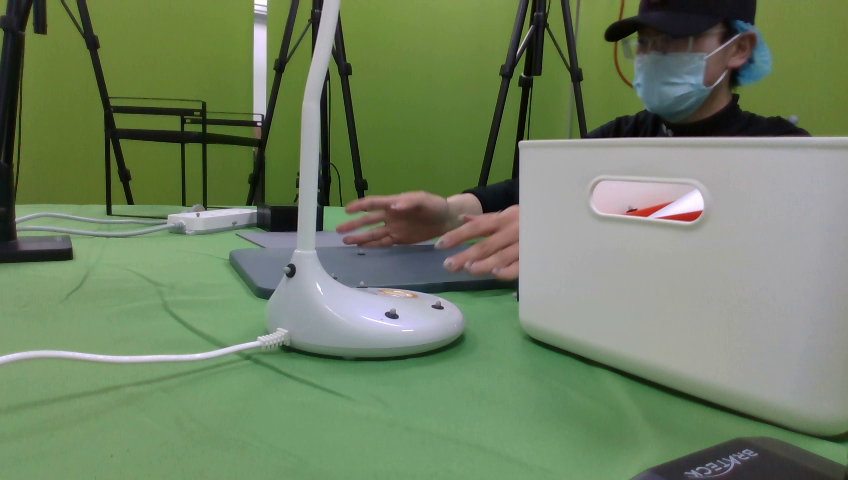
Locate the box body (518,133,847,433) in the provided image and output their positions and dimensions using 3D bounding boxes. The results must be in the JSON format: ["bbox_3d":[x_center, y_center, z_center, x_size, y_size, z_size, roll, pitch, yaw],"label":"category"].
[{"bbox_3d":[0.278,0.005,0.486,0.366,0.160,0.253,-3,9,-36],"label":"box body"}]

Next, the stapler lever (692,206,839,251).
[{"bbox_3d":[0.266,-0.011,0.486,0.027,0.040,0.117,-15,2,-19],"label":"stapler lever"}]

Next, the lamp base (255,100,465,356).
[{"bbox_3d":[-0.051,-0.014,0.466,0.160,0.180,0.180,7,11,34],"label":"lamp base"}]

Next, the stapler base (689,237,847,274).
[{"bbox_3d":[0.270,0.012,0.487,0.041,0.024,0.130,-15,3,-19],"label":"stapler base"}]

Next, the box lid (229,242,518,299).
[{"bbox_3d":[-0.041,0.033,0.765,0.373,0.015,0.262,-2,9,-25],"label":"box lid"}]

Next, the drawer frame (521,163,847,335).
[{"bbox_3d":[0.224,0.003,0.465,0.215,0.082,0.200,-14,2,-36],"label":"drawer frame"}]

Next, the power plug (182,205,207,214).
[{"bbox_3d":[-0.456,-0.041,1.195,0.052,0.035,0.072,0,39,24],"label":"power plug"}]

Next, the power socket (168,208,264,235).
[{"bbox_3d":[-0.381,-0.038,1.129,0.072,0.032,0.227,4,8,17],"label":"power socket"}]

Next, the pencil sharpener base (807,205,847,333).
[{"bbox_3d":[0.385,0.027,0.519,0.062,0.107,0.076,-5,11,-43],"label":"pencil sharpener base"}]

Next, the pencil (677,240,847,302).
[{"bbox_3d":[0.248,0.017,0.464,0.012,0.012,0.193,1,10,-9],"label":"pencil"}]

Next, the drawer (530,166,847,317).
[{"bbox_3d":[0.225,0.002,0.468,0.213,0.073,0.193,-13,2,-36],"label":"drawer"}]
